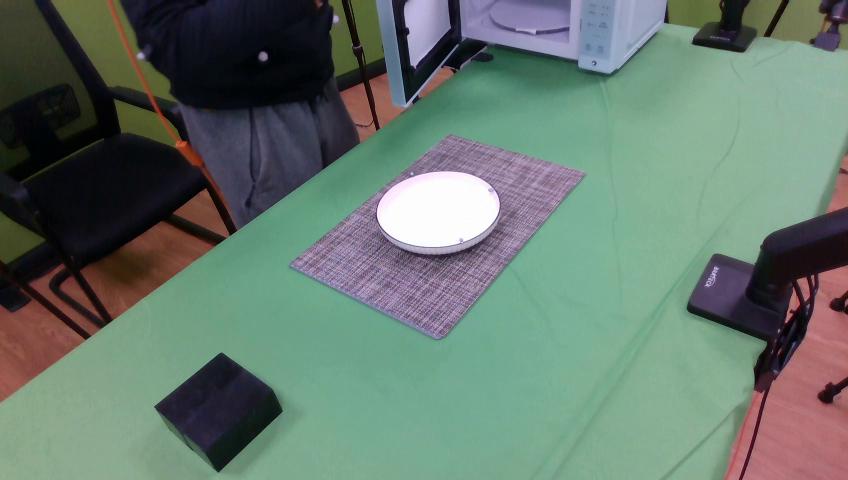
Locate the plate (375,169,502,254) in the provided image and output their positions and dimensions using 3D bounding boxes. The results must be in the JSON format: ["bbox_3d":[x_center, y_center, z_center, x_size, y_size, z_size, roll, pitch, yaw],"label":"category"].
[{"bbox_3d":[0.024,-0.044,0.998,0.209,0.038,0.208,-3,41,4],"label":"plate"}]

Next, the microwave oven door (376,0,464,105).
[{"bbox_3d":[0.002,-0.495,1.344,0.039,0.245,0.356,12,45,21],"label":"microwave oven door"}]

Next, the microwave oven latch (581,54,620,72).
[{"bbox_3d":[0.387,-0.393,1.330,0.078,0.029,0.030,25,51,32],"label":"microwave oven latch"}]

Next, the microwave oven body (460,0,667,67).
[{"bbox_3d":[0.324,-0.608,1.437,0.438,0.261,0.327,22,50,30],"label":"microwave oven body"}]
